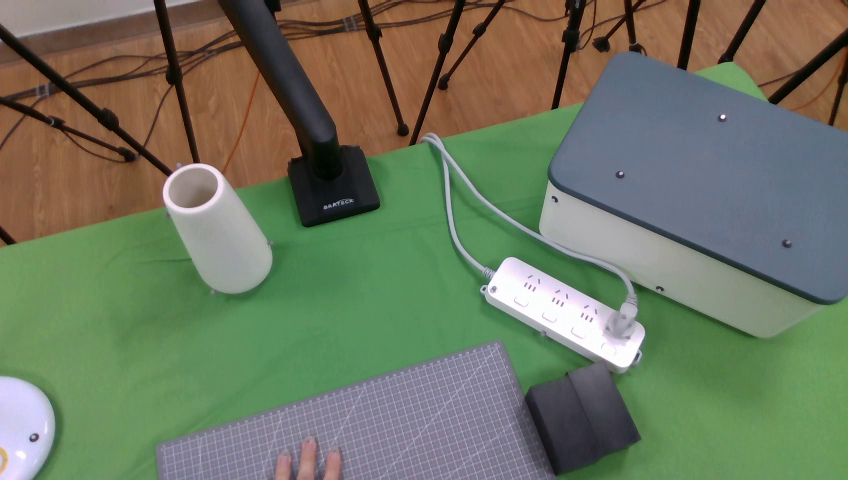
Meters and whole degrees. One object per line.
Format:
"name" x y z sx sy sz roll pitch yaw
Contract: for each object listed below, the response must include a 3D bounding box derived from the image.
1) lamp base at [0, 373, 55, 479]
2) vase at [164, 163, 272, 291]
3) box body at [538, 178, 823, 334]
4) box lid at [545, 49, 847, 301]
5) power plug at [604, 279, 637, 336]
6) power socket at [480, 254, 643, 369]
"lamp base" -0.539 0.194 0.666 0.178 0.182 0.160 36 66 21
"vase" -0.260 -0.013 0.774 0.098 0.201 0.097 1 59 -1
"box body" 0.364 -0.063 0.830 0.362 0.161 0.253 26 64 13
"box lid" 0.366 -0.098 0.765 0.370 0.015 0.262 26 64 13
"power plug" 0.264 0.094 0.790 0.035 0.053 0.072 37 62 21
"power socket" 0.185 0.094 0.815 0.225 0.033 0.072 29 64 15
